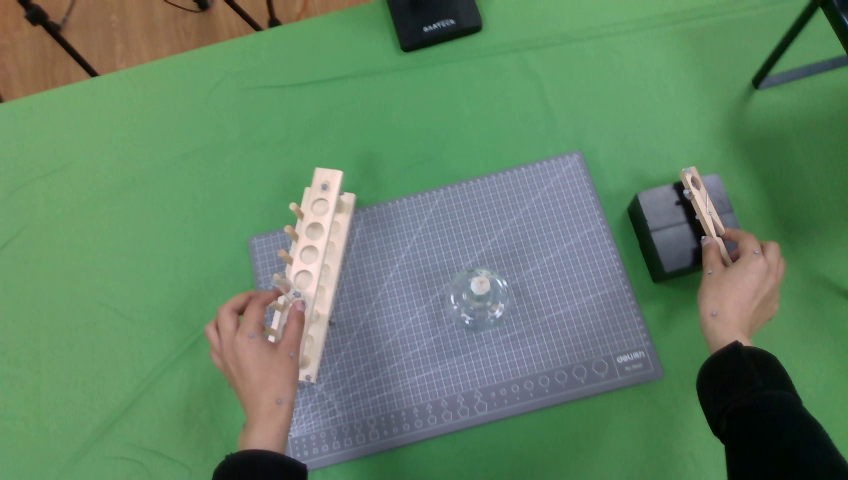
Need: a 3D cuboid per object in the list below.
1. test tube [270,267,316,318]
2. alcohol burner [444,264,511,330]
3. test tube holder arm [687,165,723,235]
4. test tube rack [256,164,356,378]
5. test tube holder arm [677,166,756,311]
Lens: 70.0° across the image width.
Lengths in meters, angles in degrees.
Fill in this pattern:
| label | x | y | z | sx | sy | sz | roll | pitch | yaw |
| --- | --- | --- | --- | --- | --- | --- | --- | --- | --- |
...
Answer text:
| label | x | y | z | sx | sy | sz | roll | pitch | yaw |
| --- | --- | --- | --- | --- | --- | --- | --- | --- | --- |
| test tube | -0.140 | 0.061 | 0.663 | 0.017 | 0.151 | 0.017 | -1 | 68 | 3 |
| alcohol burner | 0.061 | 0.060 | 0.687 | 0.078 | 0.120 | 0.077 | -1 | 71 | 3 |
| test tube holder arm | 0.321 | -0.046 | 0.696 | 0.010 | 0.015 | 0.087 | -13 | 70 | -2 |
| test tube rack | -0.146 | 0.036 | 0.724 | 0.066 | 0.086 | 0.241 | 9 | 74 | 8 |
| test tube holder arm | 0.327 | -0.004 | 0.681 | 0.013 | 0.015 | 0.177 | -15 | 70 | -3 |
